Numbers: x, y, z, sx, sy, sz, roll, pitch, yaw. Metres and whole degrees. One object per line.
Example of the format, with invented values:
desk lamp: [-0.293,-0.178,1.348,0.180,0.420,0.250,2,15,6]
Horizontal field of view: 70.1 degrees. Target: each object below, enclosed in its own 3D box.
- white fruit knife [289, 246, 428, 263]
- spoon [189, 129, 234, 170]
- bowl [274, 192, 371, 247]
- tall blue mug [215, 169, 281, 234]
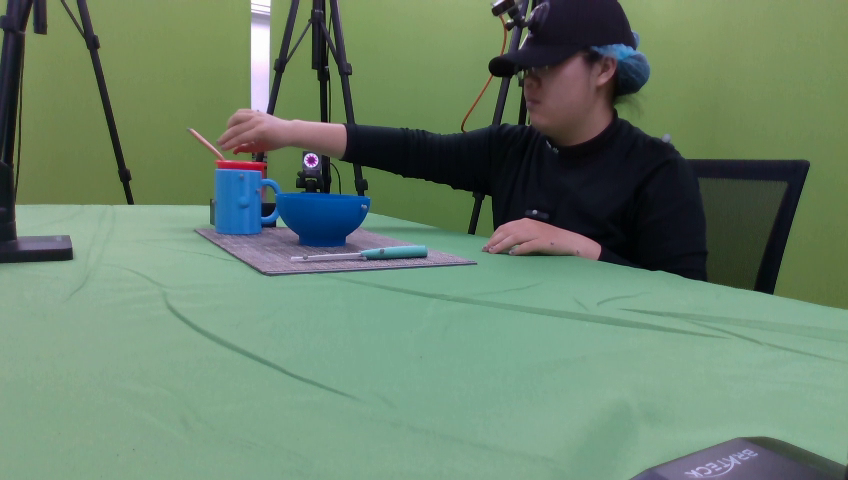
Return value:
white fruit knife: [-0.082,0.022,0.822,0.208,0.016,0.027,-3,-20,-30]
spoon: [-0.388,-0.150,1.174,0.193,0.021,0.042,48,20,7]
bowl: [-0.161,-0.033,0.958,0.151,0.077,0.151,3,7,0]
tall blue mug: [-0.313,-0.069,1.061,0.077,0.108,0.108,6,8,31]
